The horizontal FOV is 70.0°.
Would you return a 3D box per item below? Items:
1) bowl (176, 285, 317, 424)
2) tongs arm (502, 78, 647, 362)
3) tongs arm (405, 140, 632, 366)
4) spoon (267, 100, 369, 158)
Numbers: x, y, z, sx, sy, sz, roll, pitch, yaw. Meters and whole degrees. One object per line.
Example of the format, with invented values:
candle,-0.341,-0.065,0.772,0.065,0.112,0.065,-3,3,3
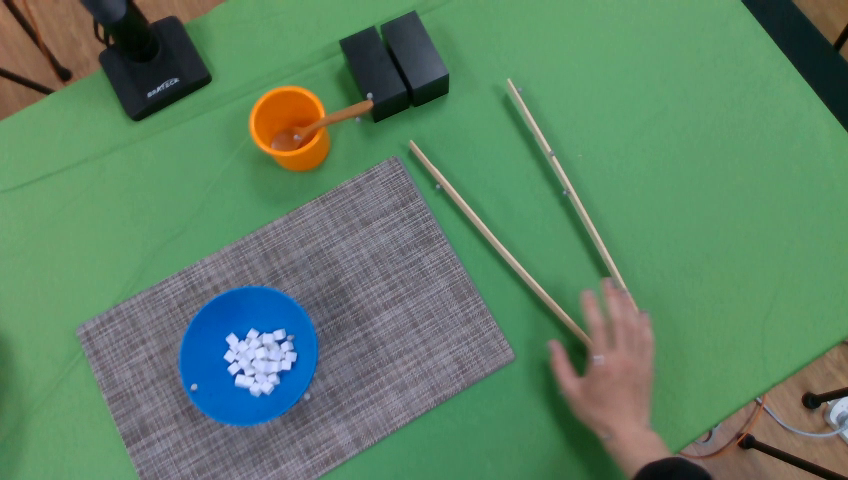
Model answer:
bowl,-0.192,0.131,0.694,0.151,0.077,0.150,0,77,1
tongs arm,0.174,-0.031,0.752,0.051,0.026,0.383,-28,79,-4
tongs arm,0.106,0.013,0.748,0.028,0.028,0.386,-40,79,-10
spoon,-0.131,-0.134,0.723,0.022,0.193,0.041,19,70,-39
